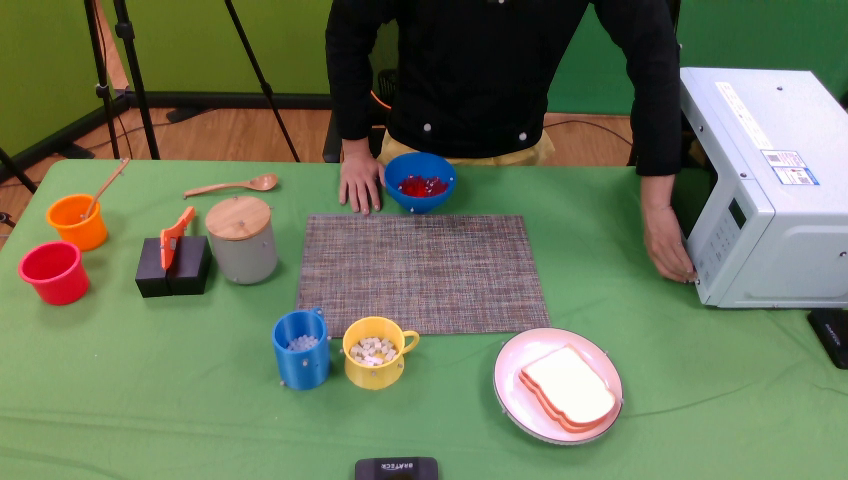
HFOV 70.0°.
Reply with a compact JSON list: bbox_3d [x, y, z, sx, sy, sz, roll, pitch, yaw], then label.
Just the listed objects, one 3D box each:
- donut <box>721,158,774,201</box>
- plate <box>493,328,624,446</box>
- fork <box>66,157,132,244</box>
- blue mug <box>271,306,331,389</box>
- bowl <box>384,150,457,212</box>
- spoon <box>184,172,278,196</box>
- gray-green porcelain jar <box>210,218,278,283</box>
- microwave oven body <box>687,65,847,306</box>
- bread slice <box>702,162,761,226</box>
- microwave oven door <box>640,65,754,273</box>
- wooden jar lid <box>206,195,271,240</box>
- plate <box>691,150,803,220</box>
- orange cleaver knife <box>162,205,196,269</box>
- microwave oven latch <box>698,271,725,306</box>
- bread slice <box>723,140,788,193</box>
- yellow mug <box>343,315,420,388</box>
[{"bbox_3d":[0.648,-0.121,1.215,0.099,0.048,0.098,-3,56,4],"label":"donut"},{"bbox_3d":[0.213,0.236,0.974,0.208,0.039,0.206,2,46,-2],"label":"plate"},{"bbox_3d":[-0.608,-0.074,1.133,0.207,0.019,0.028,-52,50,10],"label":"fork"},{"bbox_3d":[-0.188,0.163,0.969,0.082,0.106,0.116,15,47,10],"label":"blue mug"},{"bbox_3d":[-0.009,-0.112,1.262,0.151,0.077,0.150,2,46,-2],"label":"bowl"},{"bbox_3d":[-0.405,-0.116,1.275,0.194,0.022,0.041,-8,65,-12],"label":"spoon"},{"bbox_3d":[-0.322,0.007,1.093,0.106,0.127,0.105,2,46,-2],"label":"gray-green porcelain jar"},{"bbox_3d":[0.670,-0.111,1.176,0.326,0.261,0.439,0,46,-3],"label":"microwave oven body"},{"bbox_3d":[0.648,-0.102,1.267,0.105,0.019,0.131,15,72,12],"label":"bread slice"},{"bbox_3d":[0.523,-0.147,1.193,0.039,0.245,0.353,0,47,-3],"label":"microwave oven door"},{"bbox_3d":[-0.319,-0.036,1.047,0.108,0.021,0.107,1,44,0],"label":"wooden jar lid"},{"bbox_3d":[0.653,-0.108,1.237,0.209,0.038,0.208,-1,45,1],"label":"plate"},{"bbox_3d":[-0.454,-0.010,1.129,0.012,0.077,0.210,-2,20,-5],"label":"orange cleaver knife"},{"bbox_3d":[0.526,0.083,1.115,0.030,0.029,0.078,8,46,5],"label":"microwave oven latch"},{"bbox_3d":[0.661,-0.147,1.201,0.107,0.018,0.133,0,53,9],"label":"bread slice"},{"bbox_3d":[-0.067,0.177,0.990,0.131,0.064,0.099,-15,50,-20],"label":"yellow mug"}]
